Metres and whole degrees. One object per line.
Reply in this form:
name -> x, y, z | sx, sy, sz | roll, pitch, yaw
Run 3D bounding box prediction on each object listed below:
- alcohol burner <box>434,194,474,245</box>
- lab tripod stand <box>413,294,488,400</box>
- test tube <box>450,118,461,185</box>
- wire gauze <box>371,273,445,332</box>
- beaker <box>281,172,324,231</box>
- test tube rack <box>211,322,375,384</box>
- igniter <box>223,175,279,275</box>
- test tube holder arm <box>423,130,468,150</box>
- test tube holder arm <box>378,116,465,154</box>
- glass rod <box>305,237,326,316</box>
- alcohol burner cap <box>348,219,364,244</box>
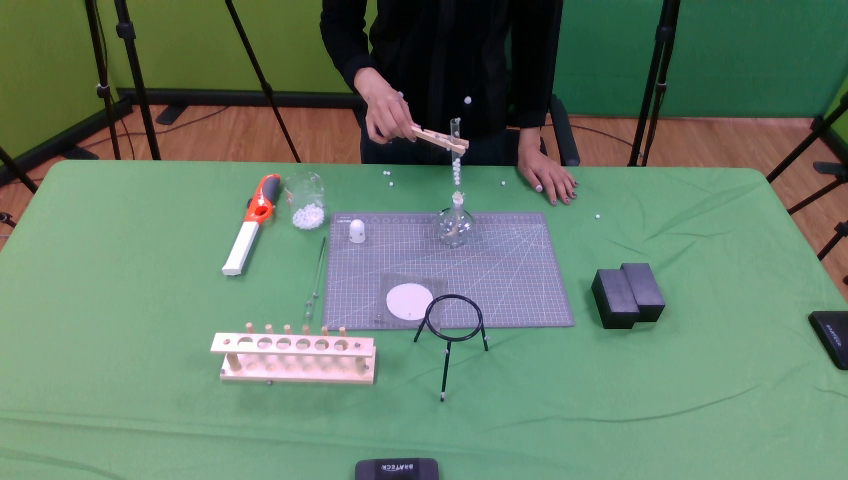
alcohol burner -> 0.061, -0.046, 1.183 | 0.078, 0.119, 0.077 | 3, 47, -3
lab tripod stand -> 0.044, 0.159, 0.972 | 0.148, 0.132, 0.147 | 2, 44, -2
test tube -> 0.057, -0.155, 1.092 | 0.017, 0.151, 0.017 | -2, 49, 3
wire gauze -> -0.028, 0.108, 1.100 | 0.125, 0.011, 0.121 | 8, 45, 4
beaker -> -0.234, -0.073, 1.199 | 0.084, 0.101, 0.074 | 24, 50, 17
test tube rack -> -0.202, 0.176, 0.969 | 0.242, 0.085, 0.066 | 3, 46, -2
igniter -> -0.341, -0.039, 1.206 | 0.057, 0.025, 0.275 | -1, 45, 8
test tube holder arm -> 0.037, -0.179, 1.085 | 0.087, 0.015, 0.010 | 17, 46, 14
test tube holder arm -> -0.006, -0.191, 1.094 | 0.178, 0.015, 0.013 | 22, 47, 19
glass rod -> -0.202, 0.064, 1.132 | 0.008, 0.008, 0.198 | 4, 43, 0
alcohol burner cap -> -0.134, -0.019, 1.190 | 0.034, 0.048, 0.033 | 2, 46, -2
